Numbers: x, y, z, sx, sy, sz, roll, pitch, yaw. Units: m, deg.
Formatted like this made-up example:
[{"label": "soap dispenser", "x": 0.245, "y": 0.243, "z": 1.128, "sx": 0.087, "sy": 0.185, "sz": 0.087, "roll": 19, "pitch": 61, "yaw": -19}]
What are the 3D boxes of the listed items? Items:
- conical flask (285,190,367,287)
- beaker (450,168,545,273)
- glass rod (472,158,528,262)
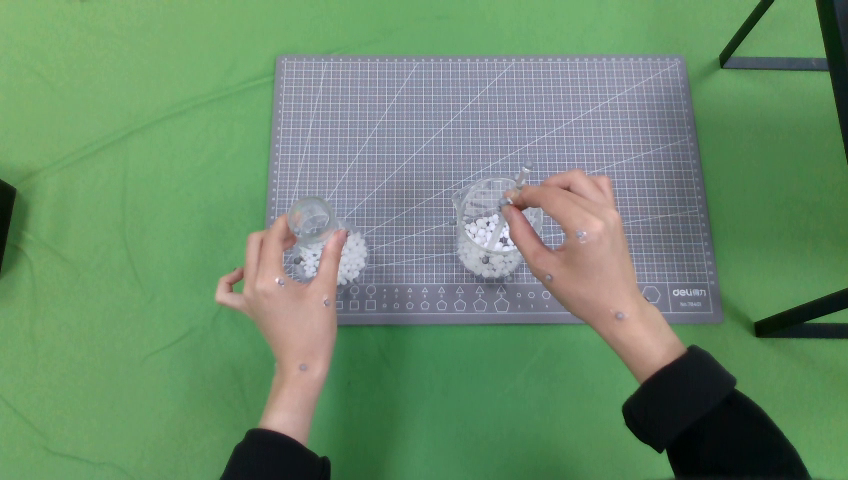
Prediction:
[{"label": "conical flask", "x": -0.094, "y": -0.006, "z": 0.545, "sx": 0.075, "sy": 0.122, "sz": 0.075, "roll": 0, "pitch": 73, "yaw": 0}, {"label": "beaker", "x": 0.061, "y": -0.014, "z": 0.561, "sx": 0.084, "sy": 0.101, "sz": 0.073, "roll": 23, "pitch": 74, "yaw": 7}, {"label": "glass rod", "x": 0.058, "y": -0.017, "z": 0.494, "sx": 0.008, "sy": 0.200, "sz": 0.008, "roll": 2, "pitch": 69, "yaw": -5}]
